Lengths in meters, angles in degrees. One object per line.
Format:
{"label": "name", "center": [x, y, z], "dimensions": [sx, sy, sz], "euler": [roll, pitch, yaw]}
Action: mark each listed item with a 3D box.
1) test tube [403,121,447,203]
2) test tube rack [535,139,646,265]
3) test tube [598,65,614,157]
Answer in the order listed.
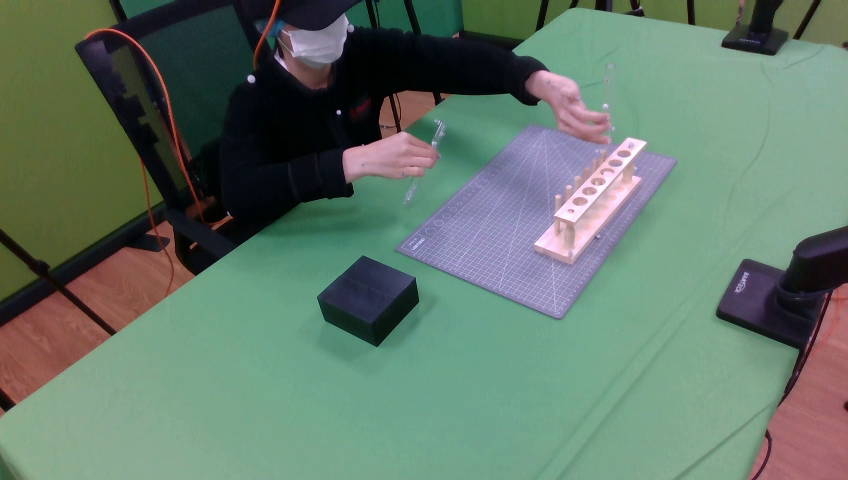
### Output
{"label": "test tube", "center": [0.001, -0.127, 1.005], "dimensions": [0.017, 0.150, 0.017], "euler": [24, 17, -8]}
{"label": "test tube rack", "center": [0.269, -0.071, 0.964], "dimensions": [0.066, 0.085, 0.243], "euler": [23, 49, 32]}
{"label": "test tube", "center": [0.286, -0.200, 0.947], "dimensions": [0.017, 0.151, 0.017], "euler": [-5, 34, 4]}
